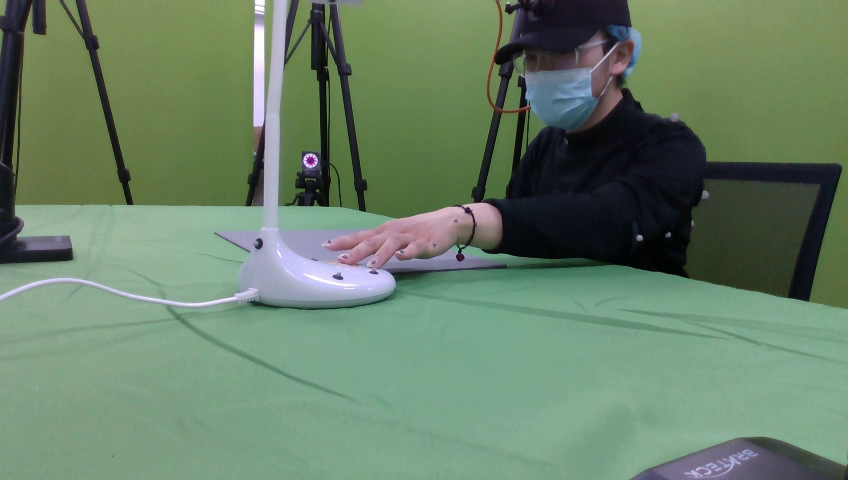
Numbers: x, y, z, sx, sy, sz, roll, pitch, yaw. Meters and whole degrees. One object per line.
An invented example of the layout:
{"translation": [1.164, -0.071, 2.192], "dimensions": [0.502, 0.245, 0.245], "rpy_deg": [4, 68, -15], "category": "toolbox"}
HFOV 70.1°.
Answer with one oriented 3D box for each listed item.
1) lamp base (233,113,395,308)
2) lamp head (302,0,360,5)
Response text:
{"translation": [-0.113, -0.033, 0.600], "dimensions": [0.160, 0.180, 0.180], "rpy_deg": [6, 11, 28], "category": "lamp base"}
{"translation": [-0.095, -0.314, 0.610], "dimensions": [0.112, 0.123, 0.112], "rpy_deg": [-4, 50, 5], "category": "lamp head"}
